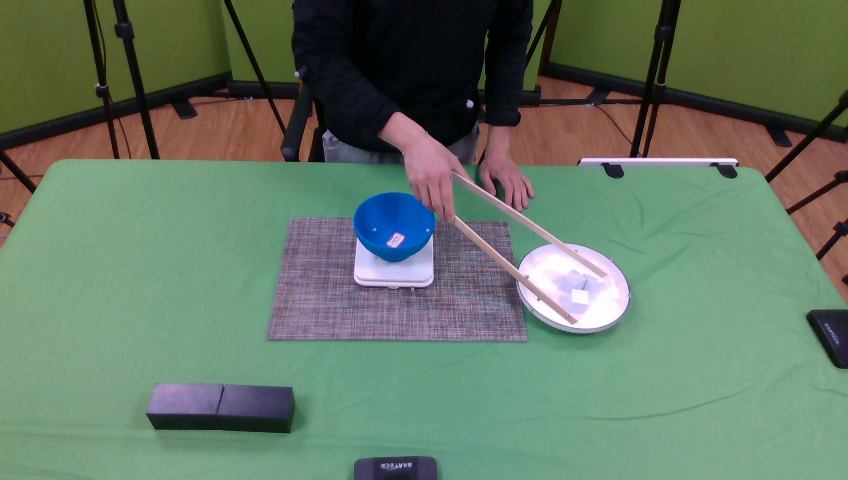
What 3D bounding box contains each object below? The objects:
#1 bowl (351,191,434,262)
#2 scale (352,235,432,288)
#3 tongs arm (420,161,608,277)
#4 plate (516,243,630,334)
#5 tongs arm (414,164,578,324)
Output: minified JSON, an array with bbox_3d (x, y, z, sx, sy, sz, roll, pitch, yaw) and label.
[{"bbox_3d":[-0.057,-0.013,1.119,0.151,0.077,0.150,1,46,-1],"label":"bowl"},{"bbox_3d":[-0.060,0.010,1.171,0.149,0.032,0.199,2,46,-3],"label":"scale"},{"bbox_3d":[0.163,-0.039,1.094,0.387,0.028,0.028,32,72,0],"label":"tongs arm"},{"bbox_3d":[0.272,0.092,1.120,0.208,0.039,0.206,2,46,-2],"label":"plate"},{"bbox_3d":[0.126,0.006,1.069,0.384,0.026,0.050,39,69,3],"label":"tongs arm"}]
